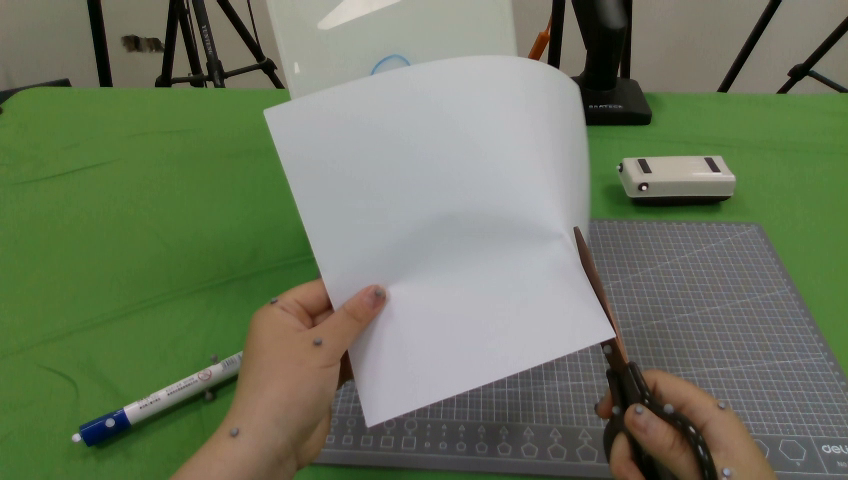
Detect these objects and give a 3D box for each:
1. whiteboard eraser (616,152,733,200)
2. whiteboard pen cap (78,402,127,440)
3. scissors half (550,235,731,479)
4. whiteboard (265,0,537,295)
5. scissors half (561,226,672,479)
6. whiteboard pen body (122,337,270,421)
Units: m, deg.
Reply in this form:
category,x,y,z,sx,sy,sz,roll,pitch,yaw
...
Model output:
category,x,y,z,sx,sy,sz,roll,pitch,yaw
whiteboard eraser,0.274,-0.070,0.668,0.113,0.042,0.055,0,42,1
whiteboard pen cap,-0.236,0.133,0.449,0.033,0.018,0.018,-25,45,-27
scissors half,0.116,0.067,0.342,0.013,0.040,0.173,-17,61,-23
whiteboard,-0.031,-0.138,0.600,0.218,0.307,0.142,-17,22,-17
scissors half,0.109,0.076,0.361,0.013,0.175,0.040,-15,-2,-27
whiteboard pen body,-0.188,0.112,0.475,0.141,0.017,0.017,-24,45,-27
